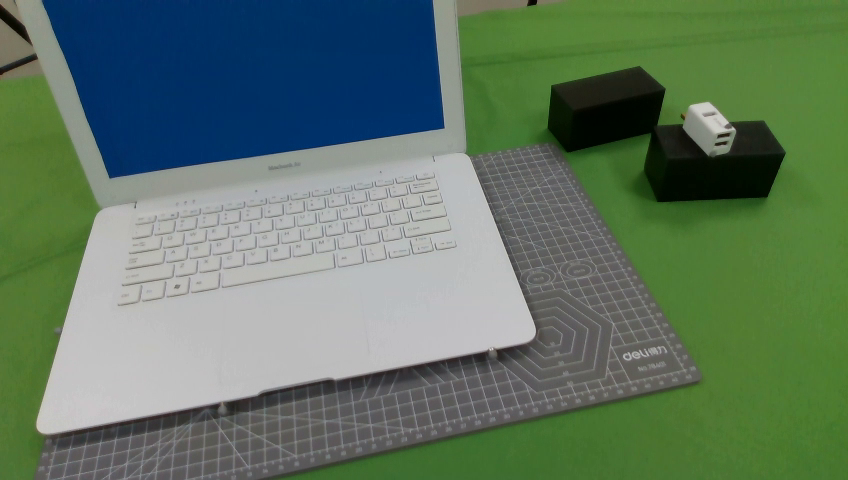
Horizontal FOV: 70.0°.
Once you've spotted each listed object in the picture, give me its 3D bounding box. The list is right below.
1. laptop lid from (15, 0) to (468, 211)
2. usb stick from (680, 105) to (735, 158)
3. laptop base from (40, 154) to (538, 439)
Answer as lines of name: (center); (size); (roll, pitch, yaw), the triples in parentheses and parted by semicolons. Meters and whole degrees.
laptop lid: (-0.141, -0.153, 0.530); (0.357, 0.243, 0.013); (-11, 30, -5)
usb stick: (0.245, -0.099, 0.531); (0.021, 0.027, 0.058); (-12, 42, -4)
laptop base: (-0.108, 0.029, 0.506); (0.355, 0.023, 0.233); (-10, 47, -6)
